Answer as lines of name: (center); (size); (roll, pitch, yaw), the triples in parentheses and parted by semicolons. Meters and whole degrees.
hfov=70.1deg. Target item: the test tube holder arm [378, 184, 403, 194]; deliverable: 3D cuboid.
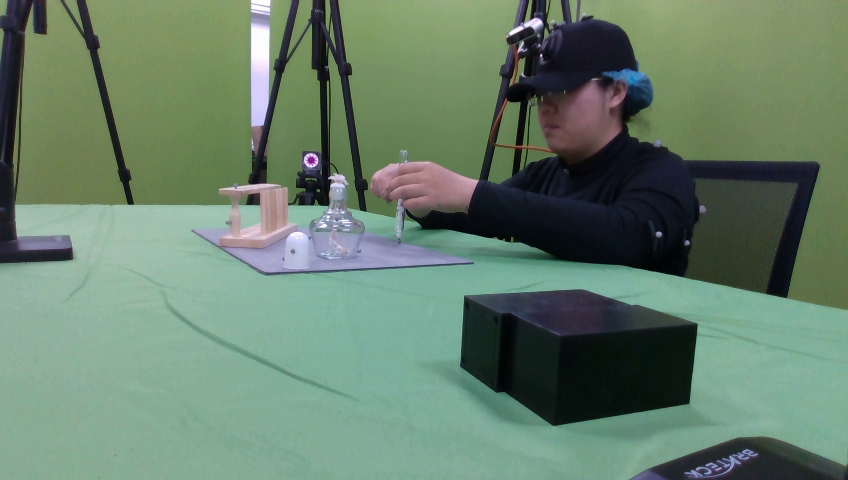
test tube holder arm: (-0.062, -0.092, 1.076); (0.013, 0.015, 0.178); (17, 1, -17)

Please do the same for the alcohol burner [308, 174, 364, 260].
alcohol burner: (-0.121, -0.033, 0.841); (0.078, 0.119, 0.078); (3, 5, 0)

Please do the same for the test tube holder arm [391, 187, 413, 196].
test tube holder arm: (-0.042, -0.085, 1.037); (0.010, 0.015, 0.087); (16, 1, -27)

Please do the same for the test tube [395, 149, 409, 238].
test tube: (-0.037, -0.077, 1.011); (0.017, 0.150, 0.017); (4, 6, 0)

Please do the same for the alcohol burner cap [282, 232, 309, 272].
alcohol burner cap: (-0.157, 0.014, 0.740); (0.034, 0.048, 0.034); (3, 6, 0)

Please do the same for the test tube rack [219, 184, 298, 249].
test tube rack: (-0.266, -0.046, 1.001); (0.067, 0.085, 0.242); (2, 7, 0)
